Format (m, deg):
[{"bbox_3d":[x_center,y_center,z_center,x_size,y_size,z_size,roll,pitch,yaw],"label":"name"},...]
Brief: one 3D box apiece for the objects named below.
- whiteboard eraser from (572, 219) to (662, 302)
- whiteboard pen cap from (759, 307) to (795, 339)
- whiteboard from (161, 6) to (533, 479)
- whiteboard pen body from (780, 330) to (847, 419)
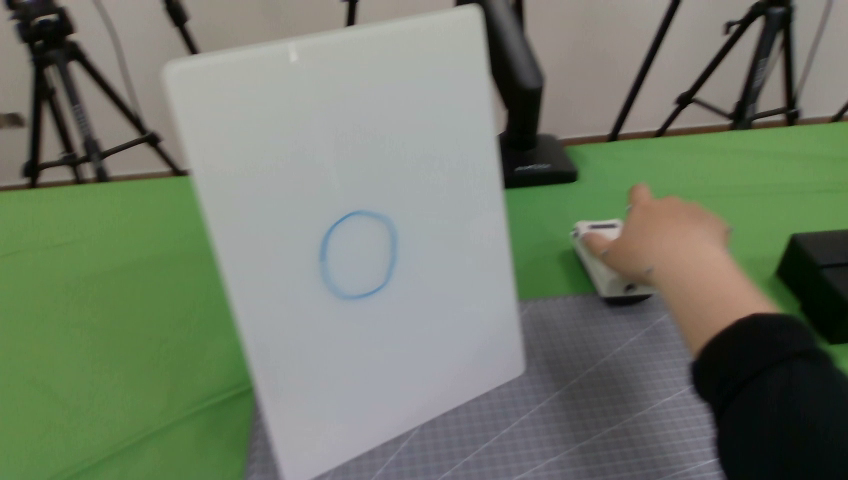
[{"bbox_3d":[0.195,0.020,0.623,0.055,0.042,0.111,-5,33,-4],"label":"whiteboard eraser"},{"bbox_3d":[0.328,0.078,0.561,0.018,0.018,0.033,-7,36,-8],"label":"whiteboard pen cap"},{"bbox_3d":[-0.057,-0.006,0.491,0.218,0.307,0.142,-19,21,-22],"label":"whiteboard"},{"bbox_3d":[0.338,0.114,0.515,0.017,0.017,0.139,-6,37,-7],"label":"whiteboard pen body"}]
